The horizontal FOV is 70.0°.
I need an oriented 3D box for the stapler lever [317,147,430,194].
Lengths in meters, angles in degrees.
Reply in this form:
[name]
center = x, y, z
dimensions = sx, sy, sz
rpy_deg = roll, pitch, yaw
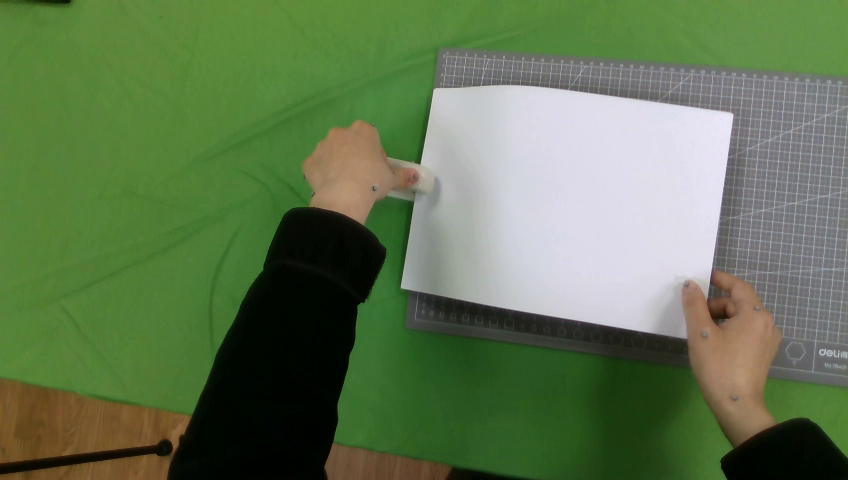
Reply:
[stapler lever]
center = -0.052, -0.072, 0.616
dimensions = 0.118, 0.040, 0.027
rpy_deg = 13, 87, 4

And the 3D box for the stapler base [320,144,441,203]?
[stapler base]
center = -0.048, -0.071, 0.635
dimensions = 0.130, 0.024, 0.041
rpy_deg = 13, 87, 10
